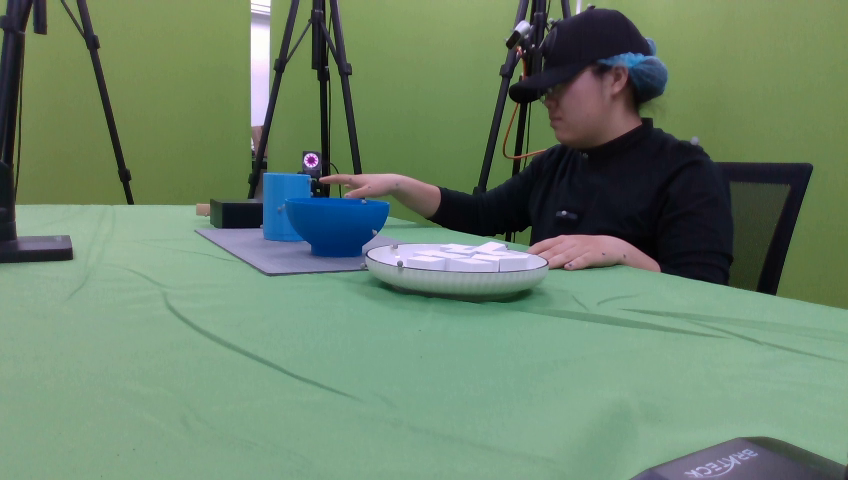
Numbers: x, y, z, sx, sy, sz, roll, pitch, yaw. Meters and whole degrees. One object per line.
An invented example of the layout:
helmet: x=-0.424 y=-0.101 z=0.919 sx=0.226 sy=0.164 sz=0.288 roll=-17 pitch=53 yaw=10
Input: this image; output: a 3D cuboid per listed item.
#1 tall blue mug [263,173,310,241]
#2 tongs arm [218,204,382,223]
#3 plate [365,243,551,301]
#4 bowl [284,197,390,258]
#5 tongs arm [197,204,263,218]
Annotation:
tall blue mug: x=-0.233 y=-0.058 z=1.019 sx=0.078 sy=0.108 sz=0.107 roll=-1 pitch=8 yaw=-19
tongs arm: x=-0.285 y=-0.061 z=1.382 sx=0.387 sy=0.027 sz=0.028 roll=3 pitch=-2 yaw=6
plate: x=0.038 y=0.035 z=0.685 sx=0.209 sy=0.038 sz=0.209 roll=2 pitch=7 yaw=0
bowl: x=-0.125 y=-0.018 z=0.870 sx=0.151 sy=0.077 sz=0.151 roll=2 pitch=7 yaw=0
tongs arm: x=-0.282 y=-0.057 z=1.301 sx=0.386 sy=0.026 sz=0.050 roll=2 pitch=1 yaw=-7
